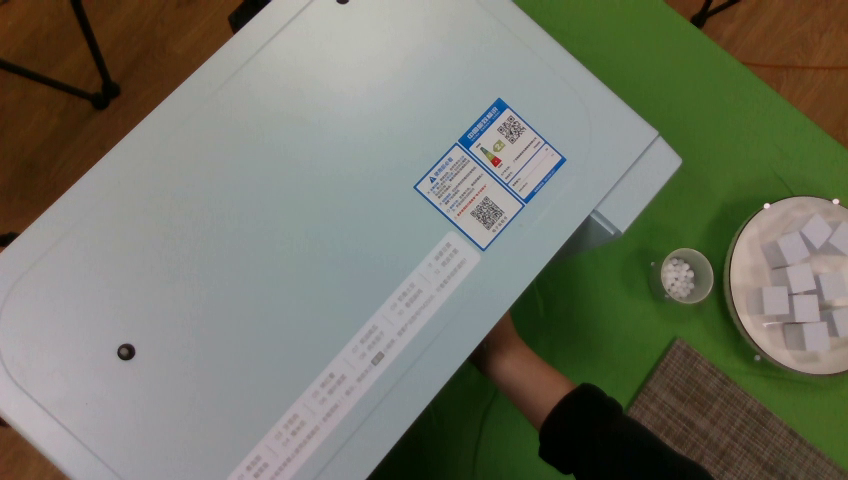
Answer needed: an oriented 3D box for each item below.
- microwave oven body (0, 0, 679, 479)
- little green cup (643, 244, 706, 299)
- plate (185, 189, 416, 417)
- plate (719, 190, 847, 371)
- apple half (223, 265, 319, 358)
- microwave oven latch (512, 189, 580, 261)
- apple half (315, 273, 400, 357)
[{"bbox_3d":[-0.085,0.003,0.526,0.326,0.260,0.441,42,80,0],"label":"microwave oven body"},{"bbox_3d":[0.280,0.037,0.683,0.061,0.038,0.061,1,83,-5],"label":"little green cup"},{"bbox_3d":[-0.112,0.058,0.568,0.209,0.038,0.208,1,82,-7],"label":"plate"},{"bbox_3d":[0.436,0.046,0.702,0.208,0.039,0.207,1,82,-7],"label":"plate"},{"bbox_3d":[-0.139,0.067,0.540,0.074,0.053,0.081,-39,99,-2],"label":"apple half"},{"bbox_3d":[0.131,-0.014,0.653,0.030,0.029,0.079,44,80,0],"label":"microwave oven latch"},{"bbox_3d":[-0.064,0.070,0.564,0.081,0.033,0.081,1,78,-4],"label":"apple half"}]
